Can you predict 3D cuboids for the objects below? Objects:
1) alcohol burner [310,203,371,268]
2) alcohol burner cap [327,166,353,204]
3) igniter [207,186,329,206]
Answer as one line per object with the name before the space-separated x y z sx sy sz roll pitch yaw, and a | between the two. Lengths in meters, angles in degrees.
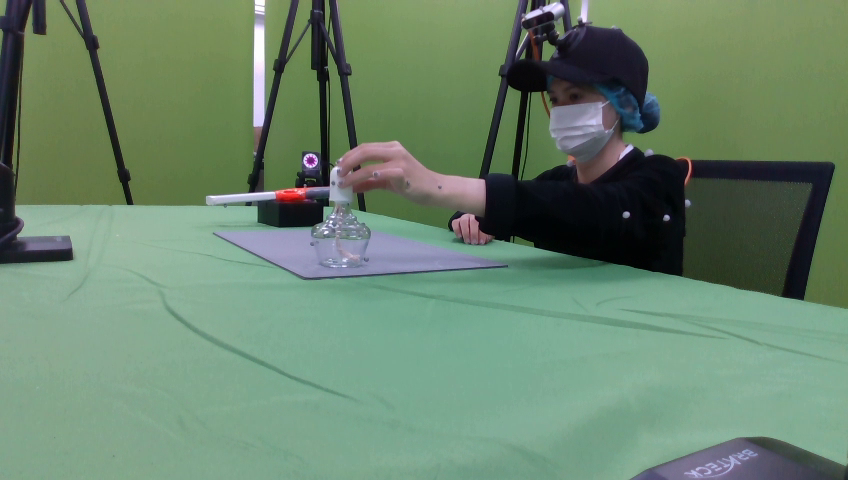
alcohol burner | -0.107 -0.024 0.778 0.078 0.119 0.078 3 5 0
alcohol burner cap | -0.108 -0.070 0.772 0.034 0.048 0.034 0 6 0
igniter | -0.300 -0.091 1.241 0.278 0.025 0.057 -8 11 -35
